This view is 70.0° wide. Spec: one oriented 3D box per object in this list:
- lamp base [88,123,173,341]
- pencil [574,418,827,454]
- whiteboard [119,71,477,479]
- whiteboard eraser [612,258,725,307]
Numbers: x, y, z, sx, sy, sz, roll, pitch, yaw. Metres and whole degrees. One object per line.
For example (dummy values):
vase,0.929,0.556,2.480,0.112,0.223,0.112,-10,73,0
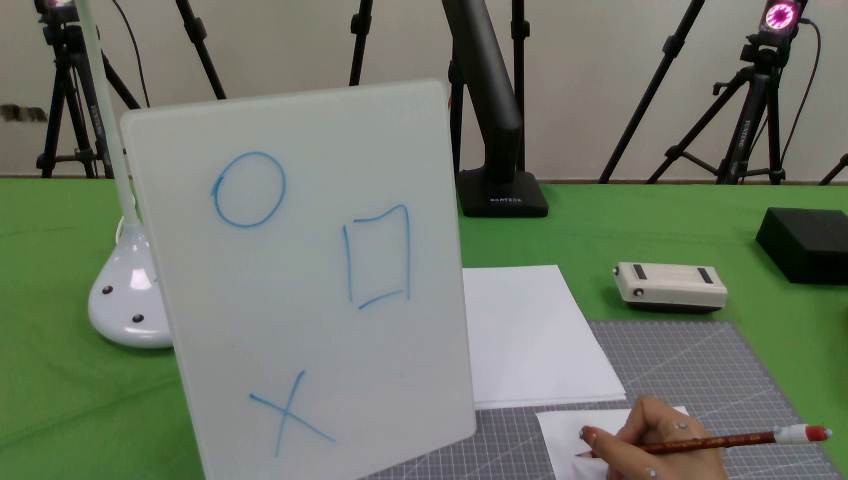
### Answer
lamp base,-0.276,-0.018,0.610,0.177,0.181,0.160,24,39,30
pencil,0.185,0.145,0.438,0.012,0.194,0.012,18,60,-34
whiteboard,-0.094,0.030,0.499,0.218,0.307,0.142,-13,18,-21
whiteboard eraser,0.276,0.049,0.691,0.113,0.042,0.055,4,35,0
